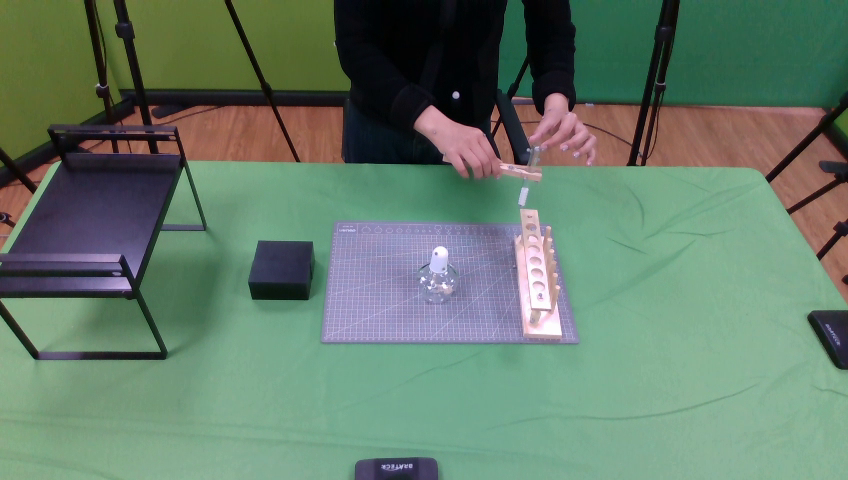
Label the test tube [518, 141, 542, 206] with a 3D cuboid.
[{"bbox_3d":[0.189,-0.116,1.088,0.017,0.151,0.017,2,49,-3],"label":"test tube"}]

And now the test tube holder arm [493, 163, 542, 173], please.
[{"bbox_3d":[0.166,-0.127,1.085,0.088,0.015,0.010,5,45,-4],"label":"test tube holder arm"}]

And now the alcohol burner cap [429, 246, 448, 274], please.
[{"bbox_3d":[0.027,0.032,1.052,0.034,0.048,0.033,4,41,-3],"label":"alcohol burner cap"}]

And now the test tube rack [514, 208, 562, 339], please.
[{"bbox_3d":[0.212,0.056,1.113,0.067,0.085,0.241,3,46,-1],"label":"test tube rack"}]

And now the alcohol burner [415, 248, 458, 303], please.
[{"bbox_3d":[0.024,0.057,1.078,0.078,0.119,0.077,3,44,-2],"label":"alcohol burner"}]

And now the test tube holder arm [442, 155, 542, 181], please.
[{"bbox_3d":[0.121,-0.129,1.080,0.178,0.015,0.013,10,45,0],"label":"test tube holder arm"}]
